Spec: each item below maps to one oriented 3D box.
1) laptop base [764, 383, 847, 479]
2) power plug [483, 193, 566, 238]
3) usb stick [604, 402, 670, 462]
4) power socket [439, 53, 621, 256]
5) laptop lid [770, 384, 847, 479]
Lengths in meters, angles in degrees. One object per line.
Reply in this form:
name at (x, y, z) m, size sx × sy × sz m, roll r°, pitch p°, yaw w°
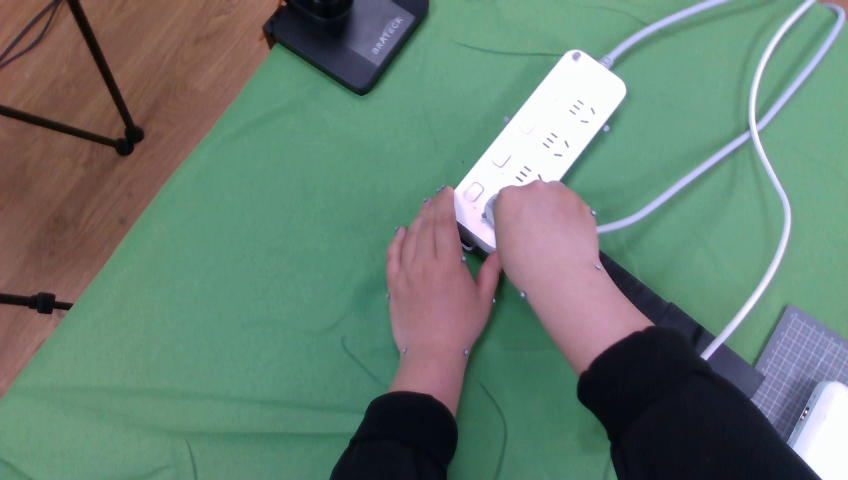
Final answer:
laptop base at (0.439, 0.316, 0.525) m, size 0.354 × 0.023 × 0.235 m, roll 34°, pitch 82°, yaw 3°
power plug at (0.084, -0.012, 0.535) m, size 0.072 × 0.053 × 0.035 m, roll 41°, pitch 87°, yaw 8°
usb stick at (0.178, 0.167, 0.513) m, size 0.027 × 0.021 × 0.059 m, roll 46°, pitch 107°, yaw 28°
power socket at (0.101, -0.082, 0.571) m, size 0.072 × 0.032 × 0.226 m, roll 38°, pitch 79°, yaw 3°
laptop lid at (0.438, 0.316, 0.513) m, size 0.356 × 0.013 × 0.241 m, roll 36°, pitch 81°, yaw 3°
